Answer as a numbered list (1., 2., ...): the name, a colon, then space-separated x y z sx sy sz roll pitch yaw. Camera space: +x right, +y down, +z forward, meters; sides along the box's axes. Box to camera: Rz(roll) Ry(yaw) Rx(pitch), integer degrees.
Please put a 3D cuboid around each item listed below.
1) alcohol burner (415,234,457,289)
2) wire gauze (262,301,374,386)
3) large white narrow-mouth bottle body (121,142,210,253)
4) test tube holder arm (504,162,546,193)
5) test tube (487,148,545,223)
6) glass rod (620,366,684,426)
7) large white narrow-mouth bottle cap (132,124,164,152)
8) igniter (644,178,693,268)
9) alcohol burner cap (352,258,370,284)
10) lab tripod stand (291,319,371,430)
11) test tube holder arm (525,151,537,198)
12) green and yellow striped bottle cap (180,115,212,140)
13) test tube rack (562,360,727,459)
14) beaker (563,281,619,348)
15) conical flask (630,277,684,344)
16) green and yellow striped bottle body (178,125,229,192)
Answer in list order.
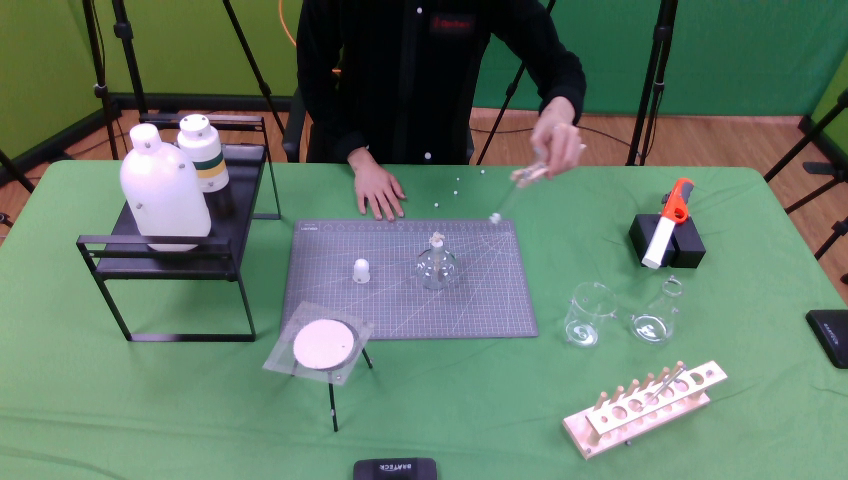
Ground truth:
1. alcohol burner: 0.022 0.033 1.100 0.078 0.120 0.077 1 47 -1
2. wire gauze: -0.150 0.148 0.873 0.121 0.011 0.124 14 46 12
3. large white narrow-mouth bottle body: -0.378 -0.077 0.875 0.102 0.195 0.101 3 46 -3
4. test tube holder arm: 0.156 -0.101 0.951 0.015 0.013 0.177 -15 22 -3
5. test tube: 0.135 -0.078 0.908 0.017 0.150 0.017 19 41 -17
6. glass rod: 0.322 0.227 0.866 0.008 0.200 0.008 6 51 -7
7. large white narrow-mouth bottle cap: -0.370 -0.138 0.812 0.038 0.024 0.037 3 46 -3
8. igniter: 0.488 -0.042 1.204 0.057 0.025 0.276 30 51 10
9. alcohol burner cap: -0.117 0.055 1.118 0.034 0.048 0.033 1 46 -1
10. lab tripod stand: -0.146 0.193 0.923 0.148 0.132 0.147 1 47 -1
11. test tube holder arm: 0.161 -0.097 0.910 0.015 0.088 0.010 -11 49 -3
12. green and yellow striped bottle cap: -0.358 -0.177 0.951 0.045 0.020 0.045 1 44 -1
13. test tube rack: 0.341 0.247 0.940 0.243 0.085 0.066 -16 49 -18
14. beaker: 0.283 0.129 1.041 0.074 0.101 0.083 11 46 7
15. conical flask: 0.408 0.117 1.045 0.075 0.122 0.075 2 46 -2
16. green and yellow striped bottle body: -0.361 -0.142 0.989 0.063 0.120 0.063 2 46 -2
